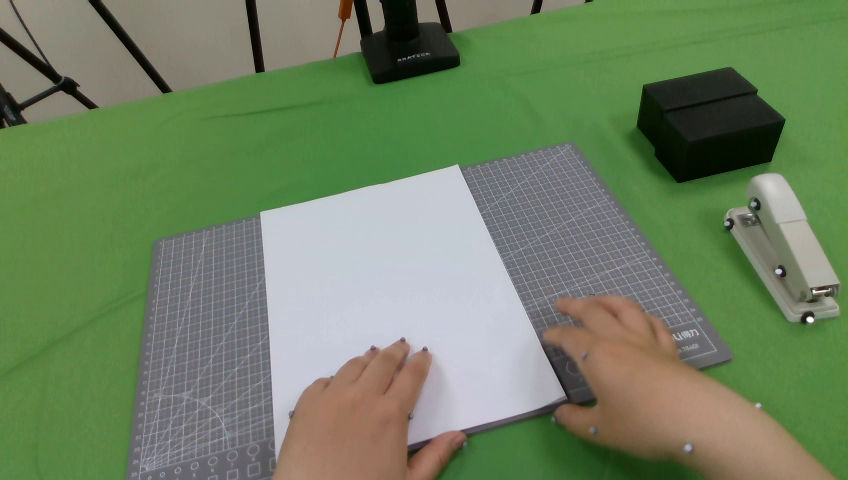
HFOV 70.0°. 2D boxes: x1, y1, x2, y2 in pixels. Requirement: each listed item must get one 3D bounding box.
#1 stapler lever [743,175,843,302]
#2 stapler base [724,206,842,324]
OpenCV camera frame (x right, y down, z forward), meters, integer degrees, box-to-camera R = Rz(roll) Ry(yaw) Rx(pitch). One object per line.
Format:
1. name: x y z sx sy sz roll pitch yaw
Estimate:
1. stapler lever: 0.295 -0.006 0.487 0.027 0.040 0.117 -10 46 2
2. stapler base: 0.297 0.011 0.506 0.041 0.025 0.129 -10 46 2
